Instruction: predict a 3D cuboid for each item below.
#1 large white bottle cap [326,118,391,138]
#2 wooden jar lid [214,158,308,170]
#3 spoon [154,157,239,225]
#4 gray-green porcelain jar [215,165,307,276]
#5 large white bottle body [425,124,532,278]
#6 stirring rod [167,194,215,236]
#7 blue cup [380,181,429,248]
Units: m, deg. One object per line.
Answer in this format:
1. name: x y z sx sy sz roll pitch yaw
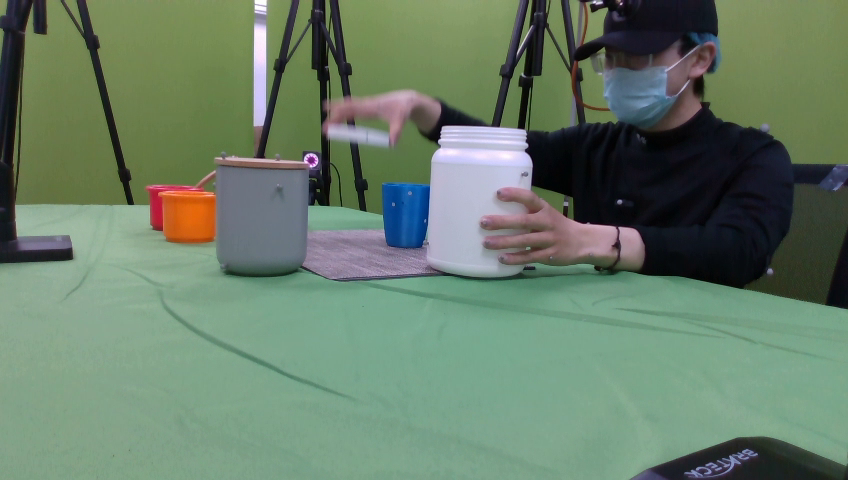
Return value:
1. large white bottle cap: -0.114 -0.198 1.067 0.115 0.018 0.115 9 6 -1
2. wooden jar lid: -0.193 -0.085 0.719 0.108 0.020 0.108 2 9 0
3. spoon: -0.411 -0.092 1.105 0.041 0.022 0.194 13 56 51
4. gray-green porcelain jar: -0.195 -0.024 0.726 0.106 0.126 0.106 3 7 0
5. large white bottle body: 0.070 -0.053 0.780 0.131 0.184 0.130 3 9 0
6. stirring rod: -0.341 -0.066 0.967 0.176 0.006 0.014 -42 23 -9
7. blue cup: -0.029 -0.041 0.980 0.093 0.100 0.092 3 9 0
